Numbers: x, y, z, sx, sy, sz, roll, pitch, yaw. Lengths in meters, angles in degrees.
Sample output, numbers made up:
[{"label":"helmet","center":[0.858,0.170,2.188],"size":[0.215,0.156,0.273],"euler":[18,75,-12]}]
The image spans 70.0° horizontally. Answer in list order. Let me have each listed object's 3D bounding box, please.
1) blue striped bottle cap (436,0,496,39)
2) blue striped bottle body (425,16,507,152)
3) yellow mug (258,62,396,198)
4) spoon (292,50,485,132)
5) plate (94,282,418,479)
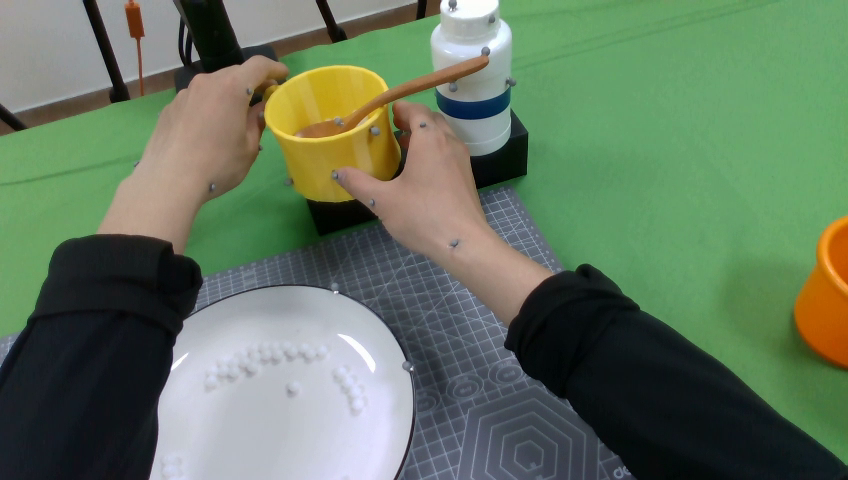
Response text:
[{"label":"blue striped bottle cap","center":[0.031,-0.169,0.447],"size":[0.044,0.021,0.044],"euler":[-5,50,6]},{"label":"blue striped bottle body","center":[0.035,-0.135,0.486],"size":[0.063,0.122,0.062],"euler":[-4,49,5]},{"label":"yellow mug","center":[-0.090,-0.098,0.506],"size":[0.130,0.064,0.099],"euler":[22,55,25]},{"label":"spoon","center":[-0.037,-0.106,0.464],"size":[0.193,0.022,0.041],"euler":[-17,36,38]},{"label":"plate","center":[-0.105,0.121,0.403],"size":[0.207,0.039,0.205],"euler":[-3,49,4]}]
